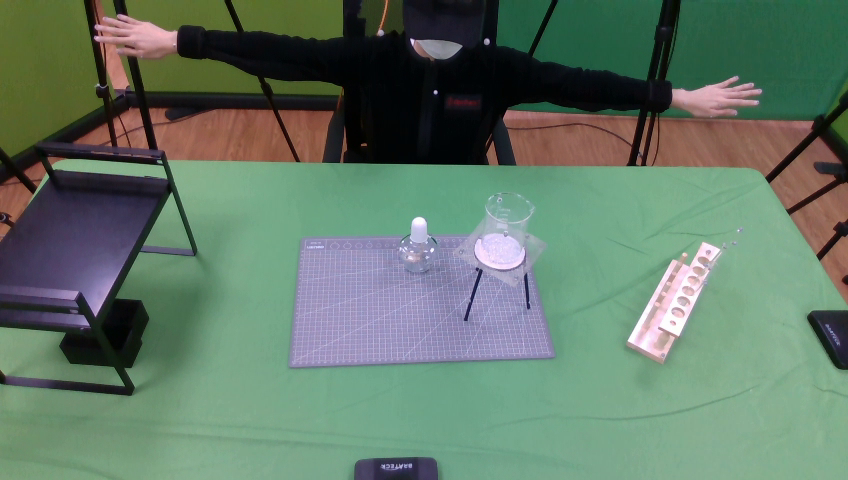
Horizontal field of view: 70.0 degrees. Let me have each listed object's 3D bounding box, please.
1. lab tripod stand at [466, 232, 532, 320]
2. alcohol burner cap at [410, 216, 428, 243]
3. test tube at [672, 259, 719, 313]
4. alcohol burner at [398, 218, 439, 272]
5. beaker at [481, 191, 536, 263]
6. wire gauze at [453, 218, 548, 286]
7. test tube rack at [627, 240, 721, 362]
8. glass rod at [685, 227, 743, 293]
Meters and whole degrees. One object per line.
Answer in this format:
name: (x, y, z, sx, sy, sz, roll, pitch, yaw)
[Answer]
lab tripod stand: (0.125, 0.059, 1.065, 0.148, 0.132, 0.147, 1, 45, 0)
alcohol burner cap: (-0.009, -0.022, 1.099, 0.034, 0.048, 0.033, 2, 41, -1)
test tube: (0.460, 0.082, 1.032, 0.017, 0.151, 0.017, 4, 52, -5)
alcohol burner: (-0.010, 0.004, 1.123, 0.078, 0.120, 0.077, 1, 47, 0)
beaker: (0.134, -0.019, 0.982, 0.084, 0.101, 0.073, -5, 46, -8)
wire gauze: (0.129, 0.014, 1.018, 0.124, 0.011, 0.121, 26, 47, 25)
test tube rack: (0.452, 0.098, 1.087, 0.066, 0.085, 0.242, 28, 51, 22)
glass rod: (0.500, 0.041, 1.053, 0.008, 0.200, 0.008, 4, 53, -5)
